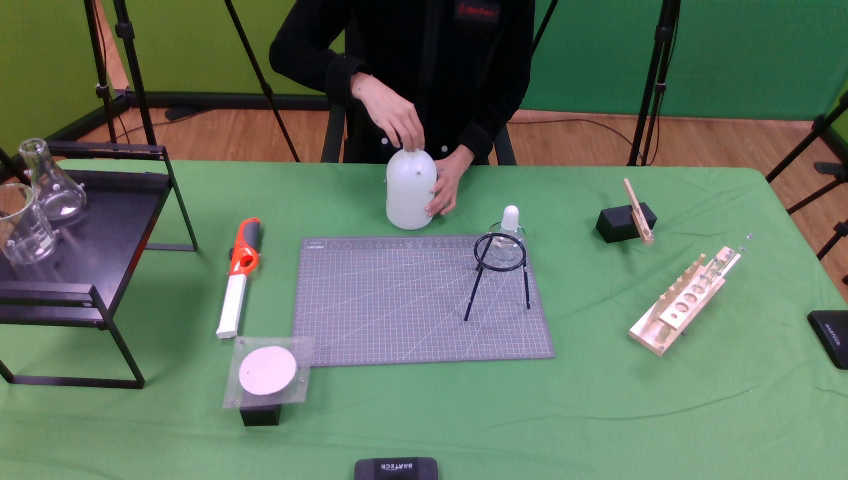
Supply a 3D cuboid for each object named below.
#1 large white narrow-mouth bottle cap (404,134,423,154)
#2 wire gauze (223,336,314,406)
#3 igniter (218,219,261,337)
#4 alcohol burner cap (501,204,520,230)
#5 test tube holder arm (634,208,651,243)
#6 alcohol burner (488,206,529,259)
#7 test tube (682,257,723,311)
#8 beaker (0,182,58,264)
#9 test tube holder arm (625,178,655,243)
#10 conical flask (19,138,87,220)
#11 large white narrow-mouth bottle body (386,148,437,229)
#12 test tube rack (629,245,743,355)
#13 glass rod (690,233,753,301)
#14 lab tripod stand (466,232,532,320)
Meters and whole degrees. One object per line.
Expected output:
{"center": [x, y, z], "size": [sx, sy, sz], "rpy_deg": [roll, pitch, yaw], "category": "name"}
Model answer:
{"center": [-0.019, -0.178, 1.126], "size": [0.038, 0.024, 0.037], "rpy_deg": [3, 46, -2], "category": "large white narrow-mouth bottle cap"}
{"center": [-0.236, 0.197, 0.931], "size": [0.121, 0.011, 0.124], "rpy_deg": [1, 45, -4], "category": "wire gauze"}
{"center": [-0.336, 0.060, 1.111], "size": [0.057, 0.025, 0.274], "rpy_deg": [-8, 46, 3], "category": "igniter"}
{"center": [0.164, -0.046, 1.133], "size": [0.034, 0.048, 0.033], "rpy_deg": [2, 40, -2], "category": "alcohol burner cap"}
{"center": [0.428, -0.030, 1.189], "size": [0.010, 0.015, 0.087], "rpy_deg": [1, 47, -2], "category": "test tube holder arm"}
{"center": [0.163, -0.020, 1.158], "size": [0.078, 0.120, 0.077], "rpy_deg": [0, 47, 0], "category": "alcohol burner"}
{"center": [0.475, 0.080, 1.037], "size": [0.017, 0.151, 0.017], "rpy_deg": [1, 51, -1], "category": "test tube"}
{"center": [-0.582, -0.019, 0.870], "size": [0.074, 0.101, 0.083], "rpy_deg": [5, 46, 1], "category": "beaker"}
{"center": [0.433, -0.062, 1.220], "size": [0.013, 0.015, 0.177], "rpy_deg": [0, 47, -2], "category": "test tube holder arm"}
{"center": [-0.576, -0.097, 0.930], "size": [0.075, 0.122, 0.075], "rpy_deg": [2, 46, -2], "category": "conical flask"}
{"center": [-0.024, -0.119, 1.190], "size": [0.102, 0.195, 0.101], "rpy_deg": [2, 46, -2], "category": "large white narrow-mouth bottle body"}
{"center": [0.474, 0.095, 1.091], "size": [0.242, 0.085, 0.066], "rpy_deg": [-34, 56, -31], "category": "test tube rack"}
{"center": [0.507, 0.053, 1.041], "size": [0.008, 0.200, 0.008], "rpy_deg": [5, 51, -6], "category": "glass rod"}
{"center": [0.125, 0.059, 1.065], "size": [0.148, 0.132, 0.147], "rpy_deg": [1, 45, 0], "category": "lab tripod stand"}
